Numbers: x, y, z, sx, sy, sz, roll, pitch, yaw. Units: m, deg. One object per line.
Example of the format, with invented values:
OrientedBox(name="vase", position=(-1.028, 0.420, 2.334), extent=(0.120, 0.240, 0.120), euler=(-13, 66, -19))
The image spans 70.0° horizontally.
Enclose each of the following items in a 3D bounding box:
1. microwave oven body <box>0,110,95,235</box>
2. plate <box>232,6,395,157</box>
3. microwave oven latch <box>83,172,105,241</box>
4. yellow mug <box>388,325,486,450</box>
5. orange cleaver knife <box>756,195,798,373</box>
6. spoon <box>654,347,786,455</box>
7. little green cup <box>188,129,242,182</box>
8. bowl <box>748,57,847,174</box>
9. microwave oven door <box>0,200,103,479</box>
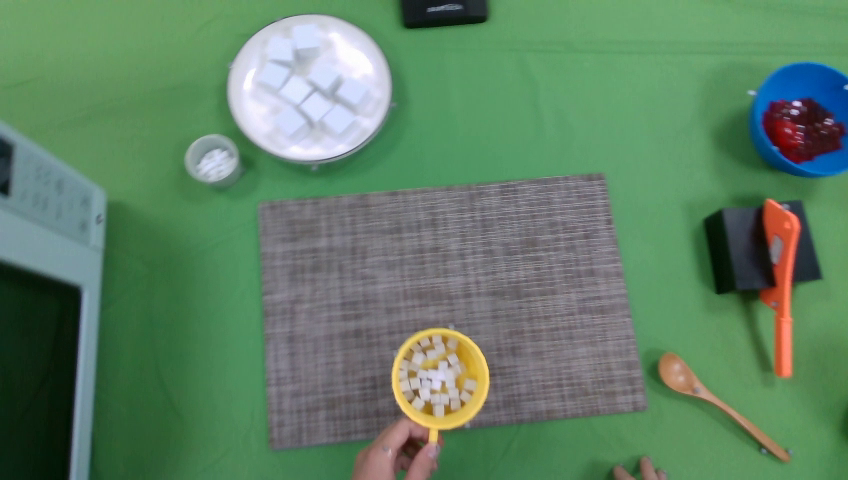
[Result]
OrientedBox(name="microwave oven body", position=(-0.539, 0.115, 0.584), extent=(0.326, 0.261, 0.439), euler=(-2, 78, -3))
OrientedBox(name="plate", position=(-0.141, -0.203, 0.788), extent=(0.208, 0.039, 0.206), euler=(1, 77, -2))
OrientedBox(name="microwave oven latch", position=(-0.400, -0.040, 0.722), extent=(0.030, 0.029, 0.079), euler=(-1, 78, -3))
OrientedBox(name="yellow mug", position=(0.011, 0.156, 0.641), extent=(0.100, 0.064, 0.130), euler=(6, 84, -2))
OrientedBox(name="orange cleaver knife", position=(0.421, 0.053, 0.729), extent=(0.012, 0.077, 0.212), euler=(-4, 101, 1))
OrientedBox(name="spoon", position=(0.354, 0.196, 0.725), extent=(0.193, 0.022, 0.041), euler=(37, 60, 6))
OrientedBox(name="little green cup", position=(-0.259, -0.103, 0.759), extent=(0.061, 0.039, 0.061), euler=(1, 78, -3))
OrientedBox(name="bowl", position=(0.480, -0.147, 0.777), extent=(0.151, 0.077, 0.150), euler=(0, 78, -2))
OrientedBox(name="microwave oven door", position=(-0.391, 0.151, 0.576), extent=(0.039, 0.244, 0.354), euler=(-2, 77, -2))
